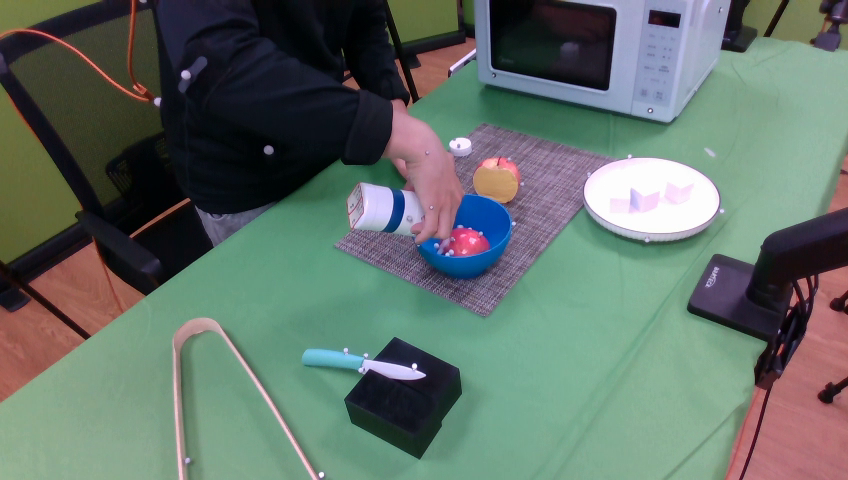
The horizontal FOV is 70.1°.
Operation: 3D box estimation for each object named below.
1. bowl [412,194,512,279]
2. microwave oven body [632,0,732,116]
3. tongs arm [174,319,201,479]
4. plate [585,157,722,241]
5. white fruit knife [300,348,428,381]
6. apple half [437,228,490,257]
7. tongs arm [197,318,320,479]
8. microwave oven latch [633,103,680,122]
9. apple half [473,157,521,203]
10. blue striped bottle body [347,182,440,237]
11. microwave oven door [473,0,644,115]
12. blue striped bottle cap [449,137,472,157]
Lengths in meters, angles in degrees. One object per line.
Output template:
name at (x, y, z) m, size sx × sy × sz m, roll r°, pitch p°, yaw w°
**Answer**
bowl at (0.058, 0.005, 0.905) m, size 0.151 × 0.077 × 0.150 m, roll -4°, pitch 39°, yaw 4°
microwave oven body at (0.377, -0.463, 1.267) m, size 0.438 × 0.261 × 0.327 m, roll 21°, pitch 49°, yaw 30°
tongs arm at (-0.272, 0.234, 0.723) m, size 0.051 × 0.026 × 0.381 m, roll -19°, pitch 40°, yaw -14°
plate at (0.367, -0.063, 0.979) m, size 0.207 × 0.039 × 0.206 m, roll -4°, pitch 40°, yaw 4°
white fruit knife at (-0.080, 0.154, 0.748) m, size 0.206 × 0.027 × 0.016 m, roll 1°, pitch 20°, yaw 34°
apple half at (0.056, 0.002, 0.901) m, size 0.081 × 0.033 × 0.081 m, roll -3°, pitch 41°, yaw 3°
tongs arm at (-0.199, 0.207, 0.750) m, size 0.028 × 0.028 × 0.384 m, roll -31°, pitch 45°, yaw -22°
microwave oven latch at (0.444, -0.249, 1.158) m, size 0.078 × 0.029 × 0.030 m, roll 21°, pitch 49°, yaw 30°
apple half at (0.128, -0.107, 1.030) m, size 0.080 × 0.075 × 0.053 m, roll 5°, pitch 39°, yaw 20°
blue striped bottle body at (-0.038, -0.039, 0.821) m, size 0.122 × 0.063 × 0.062 m, roll 8°, pitch 33°, yaw -28°
microwave oven door at (0.257, -0.396, 1.199) m, size 0.353 × 0.245 × 0.039 m, roll 21°, pitch 48°, yaw 29°
blue striped bottle cap at (0.071, -0.180, 1.168) m, size 0.044 × 0.021 × 0.044 m, roll -4°, pitch 42°, yaw 4°
